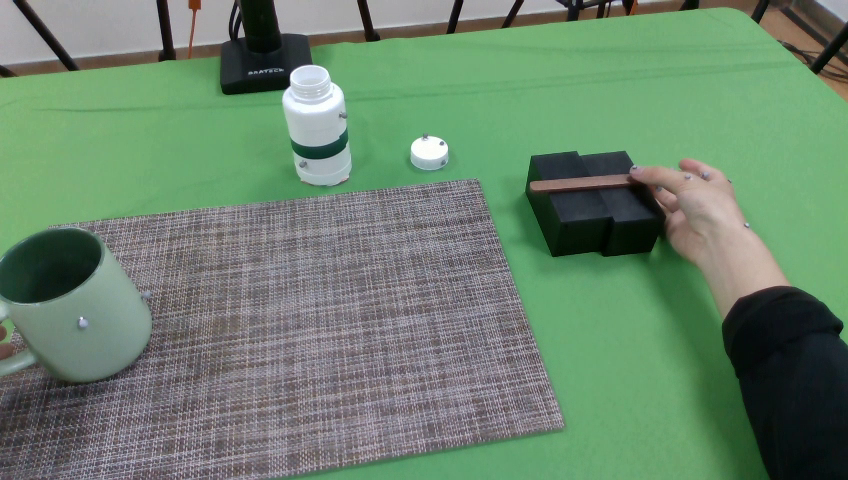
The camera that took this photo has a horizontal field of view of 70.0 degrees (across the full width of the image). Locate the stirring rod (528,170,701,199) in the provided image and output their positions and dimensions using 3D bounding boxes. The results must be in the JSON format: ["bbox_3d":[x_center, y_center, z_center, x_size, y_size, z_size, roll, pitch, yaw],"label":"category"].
[{"bbox_3d":[0.190,-0.056,0.604,0.176,0.006,0.014,-6,53,-5],"label":"stirring rod"}]

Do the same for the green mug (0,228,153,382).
[{"bbox_3d":[-0.290,0.062,0.478,0.125,0.106,0.091,-34,56,-28],"label":"green mug"}]

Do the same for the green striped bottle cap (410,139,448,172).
[{"bbox_3d":[0.006,-0.098,0.698,0.044,0.020,0.044,0,43,1],"label":"green striped bottle cap"}]

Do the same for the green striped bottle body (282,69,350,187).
[{"bbox_3d":[-0.114,-0.120,0.645,0.063,0.120,0.062,1,47,0],"label":"green striped bottle body"}]
